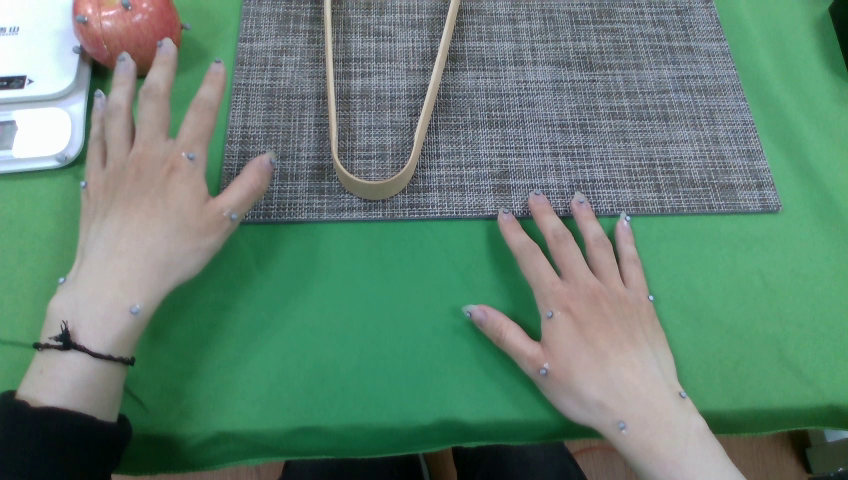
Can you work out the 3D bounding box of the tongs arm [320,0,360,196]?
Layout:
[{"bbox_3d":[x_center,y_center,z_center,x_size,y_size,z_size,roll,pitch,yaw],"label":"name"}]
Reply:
[{"bbox_3d":[-0.081,-0.211,0.548,0.028,0.028,0.384,-2,64,-8],"label":"tongs arm"}]

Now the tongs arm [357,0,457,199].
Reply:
[{"bbox_3d":[0.004,-0.205,0.548,0.051,0.027,0.382,10,65,1],"label":"tongs arm"}]

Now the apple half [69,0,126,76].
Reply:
[{"bbox_3d":[-0.270,-0.171,0.498,0.033,0.082,0.080,-10,64,-10],"label":"apple half"}]

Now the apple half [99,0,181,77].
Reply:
[{"bbox_3d":[-0.232,-0.178,0.505,0.053,0.075,0.080,-10,61,-10],"label":"apple half"}]

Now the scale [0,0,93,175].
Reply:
[{"bbox_3d":[-0.355,-0.143,0.505,0.149,0.032,0.199,-6,65,-5],"label":"scale"}]
